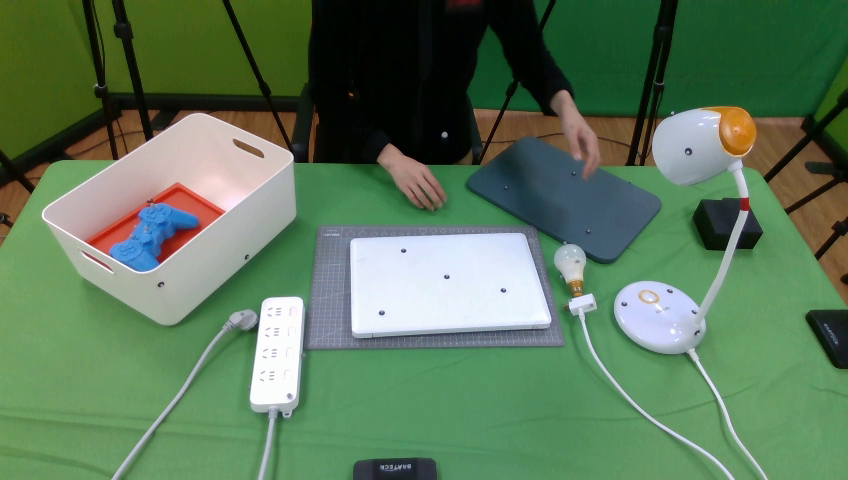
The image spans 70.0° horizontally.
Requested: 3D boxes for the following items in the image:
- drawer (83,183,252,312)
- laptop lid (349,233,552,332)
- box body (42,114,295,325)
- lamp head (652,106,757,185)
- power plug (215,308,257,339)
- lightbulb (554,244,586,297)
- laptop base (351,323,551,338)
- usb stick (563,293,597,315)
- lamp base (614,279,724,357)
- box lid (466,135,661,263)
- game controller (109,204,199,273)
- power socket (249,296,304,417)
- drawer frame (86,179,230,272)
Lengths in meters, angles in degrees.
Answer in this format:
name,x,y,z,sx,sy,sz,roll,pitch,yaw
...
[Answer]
name,x,y,z,sx,sy,sz,roll,pitch,yaw
drawer,-0.458,0.007,1.099,0.194,0.073,0.211,28,49,22
laptop lid,0.040,0.070,1.119,0.357,0.013,0.240,-1,44,-5
box body,-0.437,-0.046,1.110,0.253,0.161,0.363,24,49,19
lamp head,0.410,-0.139,0.869,0.113,0.122,0.112,0,89,-19
power plug,-0.317,0.143,1.024,0.072,0.053,0.035,-32,58,-9
lightbulb,0.281,0.058,1.146,0.059,0.060,0.107,-2,62,-6
laptop base,0.039,0.080,1.126,0.355,0.023,0.234,-2,43,-6
usb stick,0.280,0.118,1.093,0.059,0.021,0.027,-18,35,25
lamp base,0.436,0.090,1.035,0.161,0.181,0.178,-23,55,-23
box lid,0.306,-0.102,1.327,0.370,0.015,0.263,32,52,25
game controller,-0.467,-0.005,1.044,0.097,0.052,0.154,8,46,10
power socket,-0.239,0.182,0.996,0.072,0.033,0.225,-2,47,-5
drawer frame,-0.453,0.010,1.100,0.201,0.083,0.213,28,55,22
